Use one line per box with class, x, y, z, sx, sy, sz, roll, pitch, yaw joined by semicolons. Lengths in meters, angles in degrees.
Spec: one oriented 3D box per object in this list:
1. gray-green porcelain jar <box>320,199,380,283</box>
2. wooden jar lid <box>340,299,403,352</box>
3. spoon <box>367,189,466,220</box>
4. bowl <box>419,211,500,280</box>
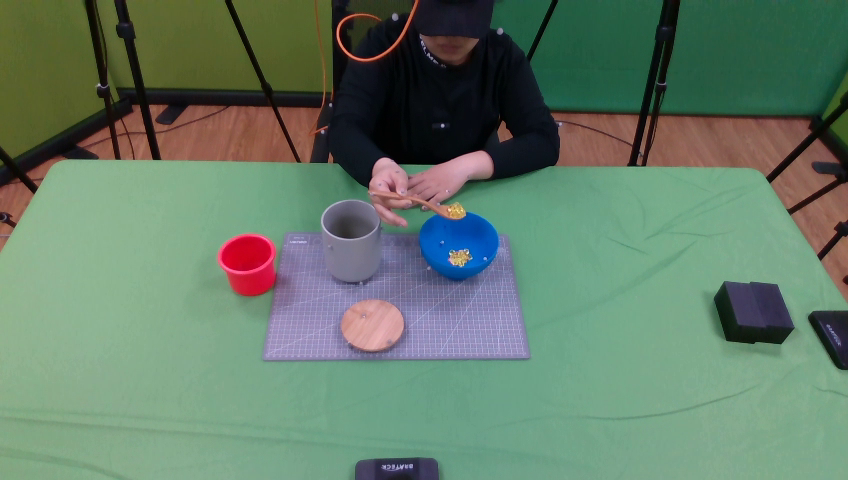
gray-green porcelain jar;-0.132;0.007;1.106;0.106;0.127;0.105;2;46;-2
wooden jar lid;-0.090;0.150;1.046;0.108;0.021;0.107;3;47;-3
spoon;-0.010;-0.064;1.036;0.194;0.022;0.041;15;33;-32
bowl;0.062;0.022;1.140;0.151;0.077;0.150;2;46;-2
